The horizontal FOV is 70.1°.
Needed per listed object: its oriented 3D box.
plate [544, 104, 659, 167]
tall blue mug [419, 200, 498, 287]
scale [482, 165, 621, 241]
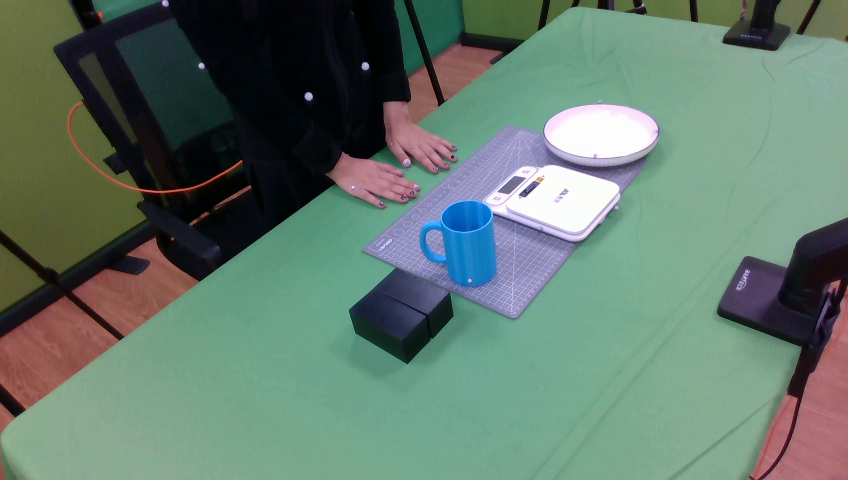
[{"bbox_3d":[0.328,-0.192,1.131,0.209,0.038,0.208,-4,39,4],"label":"plate"},{"bbox_3d":[0.053,0.010,0.889,0.107,0.108,0.077,-15,41,-7],"label":"tall blue mug"},{"bbox_3d":[0.211,-0.070,1.014,0.199,0.032,0.149,23,49,33],"label":"scale"}]
